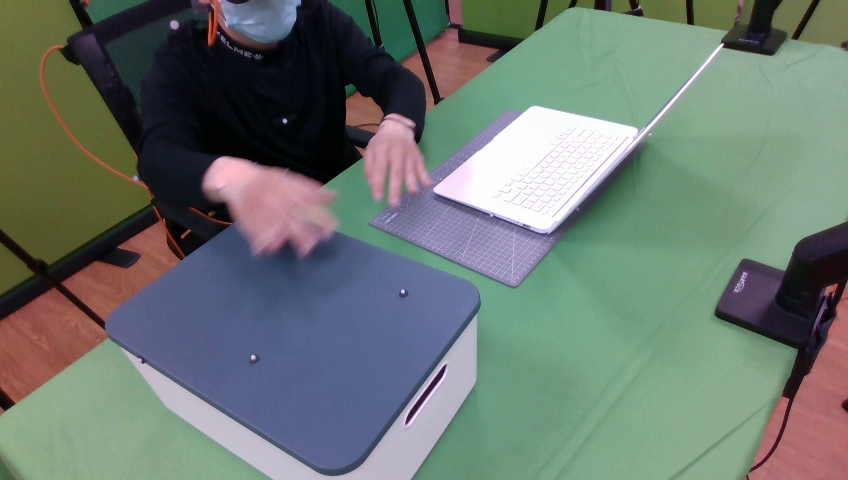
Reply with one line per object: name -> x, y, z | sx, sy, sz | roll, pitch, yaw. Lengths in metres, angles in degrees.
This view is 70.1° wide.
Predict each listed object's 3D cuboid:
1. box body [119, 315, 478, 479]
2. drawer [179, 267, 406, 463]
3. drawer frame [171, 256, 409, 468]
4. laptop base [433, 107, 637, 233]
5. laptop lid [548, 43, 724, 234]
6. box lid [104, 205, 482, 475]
box body -> -0.140, 0.136, 0.725 | 0.361, 0.161, 0.254 | 19, 47, 28
drawer -> -0.163, 0.147, 0.771 | 0.210, 0.073, 0.195 | 23, 47, 31
drawer frame -> -0.164, 0.141, 0.767 | 0.212, 0.083, 0.202 | 25, 51, 27
laptop base -> 0.210, -0.142, 1.111 | 0.233, 0.023, 0.355 | 21, 47, 34
laptop lid -> 0.336, -0.160, 0.956 | 0.013, 0.241, 0.358 | 43, 54, 8
box lid -> -0.149, 0.079, 0.677 | 0.369, 0.015, 0.264 | 20, 47, 27
